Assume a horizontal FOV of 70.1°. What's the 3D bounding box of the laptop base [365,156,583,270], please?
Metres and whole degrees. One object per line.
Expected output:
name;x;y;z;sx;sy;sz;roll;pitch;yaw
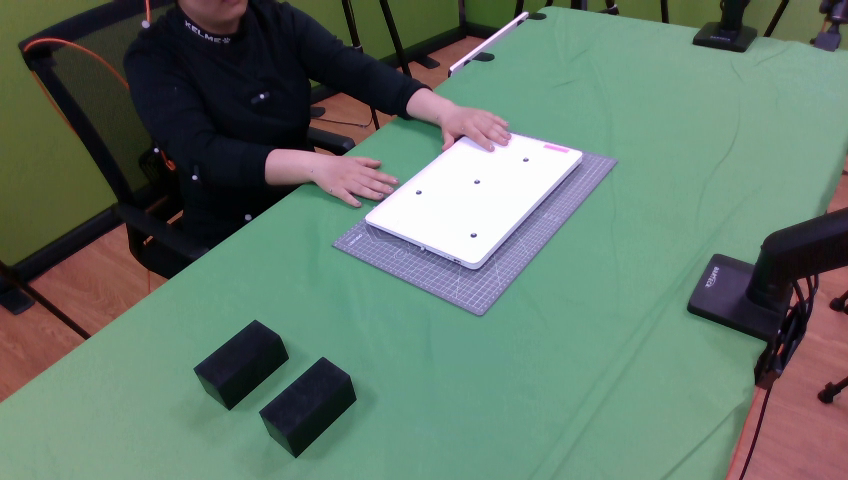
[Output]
laptop base;0.096;-0.086;1.059;0.233;0.023;0.355;21;47;33

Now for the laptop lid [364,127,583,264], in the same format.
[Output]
laptop lid;0.092;-0.096;1.053;0.239;0.013;0.358;23;49;33
